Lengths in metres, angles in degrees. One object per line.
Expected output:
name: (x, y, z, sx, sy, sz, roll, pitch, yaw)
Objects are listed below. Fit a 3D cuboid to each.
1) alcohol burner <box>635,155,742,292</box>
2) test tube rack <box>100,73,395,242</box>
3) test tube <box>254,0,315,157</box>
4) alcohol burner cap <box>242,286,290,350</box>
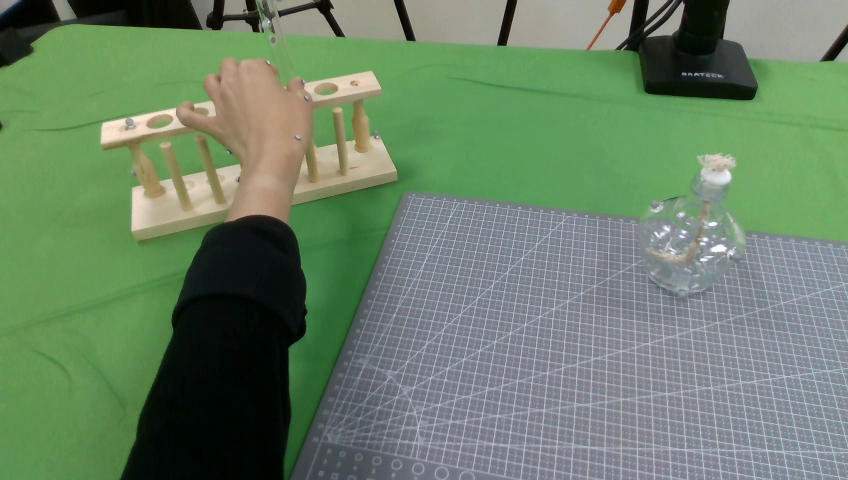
alcohol burner: (0.202, -0.016, 0.454, 0.078, 0.120, 0.077, 0, 46, 1)
test tube rack: (-0.154, -0.079, 0.559, 0.243, 0.086, 0.066, -15, 46, -12)
test tube: (-0.123, -0.141, 0.545, 0.017, 0.151, 0.017, -6, 37, 5)
alcohol burner cap: (-0.120, 0.055, 0.452, 0.034, 0.048, 0.033, -1, 44, 1)
